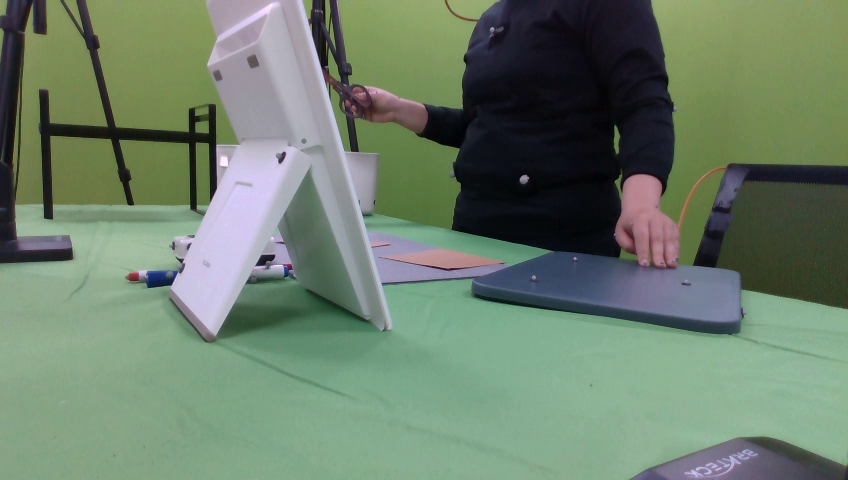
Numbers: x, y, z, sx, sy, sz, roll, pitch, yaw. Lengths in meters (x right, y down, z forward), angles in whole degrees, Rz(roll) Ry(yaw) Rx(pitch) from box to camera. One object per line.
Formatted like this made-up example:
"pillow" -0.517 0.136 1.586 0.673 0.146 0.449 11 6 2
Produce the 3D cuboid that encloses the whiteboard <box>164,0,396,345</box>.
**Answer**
"whiteboard" -0.173 -0.053 0.511 0.144 0.305 0.216 -23 19 -26

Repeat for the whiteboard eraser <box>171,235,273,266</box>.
"whiteboard eraser" -0.248 0.014 0.747 0.113 0.042 0.055 -1 9 -32

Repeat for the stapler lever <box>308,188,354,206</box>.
"stapler lever" -0.231 -0.106 1.509 0.119 0.040 0.026 2 9 -35

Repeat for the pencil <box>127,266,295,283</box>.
"pencil" -0.231 0.037 0.690 0.195 0.012 0.012 -2 9 -34

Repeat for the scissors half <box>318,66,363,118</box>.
"scissors half" -0.205 -0.340 1.353 0.040 0.175 0.013 -42 9 3

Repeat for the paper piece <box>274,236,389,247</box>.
"paper piece" -0.151 0.003 0.978 0.135 0.008 0.139 13 10 35

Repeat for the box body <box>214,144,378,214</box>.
"box body" -0.328 -0.154 1.543 0.366 0.160 0.253 -2 9 -32

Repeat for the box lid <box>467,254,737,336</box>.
"box lid" 0.234 0.055 0.736 0.262 0.015 0.373 7 7 26

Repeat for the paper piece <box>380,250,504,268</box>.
"paper piece" 0.026 0.027 0.865 0.134 0.004 0.136 8 8 43

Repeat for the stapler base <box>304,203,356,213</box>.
"stapler base" -0.235 -0.081 1.511 0.131 0.024 0.041 1 9 -35

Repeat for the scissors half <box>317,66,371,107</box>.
"scissors half" -0.193 -0.356 1.350 0.175 0.040 0.013 31 11 -7

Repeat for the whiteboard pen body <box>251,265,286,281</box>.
"whiteboard pen body" -0.220 0.039 0.656 0.141 0.017 0.017 -2 9 -30

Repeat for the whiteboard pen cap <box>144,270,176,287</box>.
"whiteboard pen cap" -0.271 0.039 0.627 0.033 0.018 0.018 -3 9 -32
